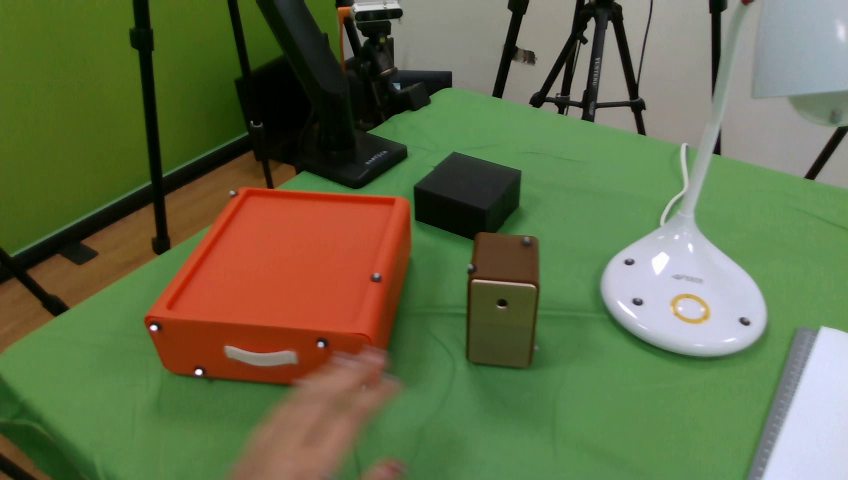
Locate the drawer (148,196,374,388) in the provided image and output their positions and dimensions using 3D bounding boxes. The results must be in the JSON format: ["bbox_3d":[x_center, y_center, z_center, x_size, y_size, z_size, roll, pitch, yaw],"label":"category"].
[{"bbox_3d":[-0.127,0.041,0.607,0.194,0.074,0.210,4,36,7],"label":"drawer"}]

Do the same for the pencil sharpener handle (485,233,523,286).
[{"bbox_3d":[0.077,0.013,0.596,0.036,0.068,0.030,9,38,4],"label":"pencil sharpener handle"}]

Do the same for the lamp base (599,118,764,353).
[{"bbox_3d":[0.262,-0.014,0.587,0.160,0.182,0.177,2,35,4],"label":"lamp base"}]

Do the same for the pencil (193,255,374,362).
[{"bbox_3d":[-0.131,0.063,0.584,0.194,0.012,0.012,-30,45,-17],"label":"pencil"}]

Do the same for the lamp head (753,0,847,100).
[{"bbox_3d":[0.256,-0.148,0.362,0.112,0.123,0.112,-6,6,1],"label":"lamp head"}]

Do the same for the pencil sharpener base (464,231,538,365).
[{"bbox_3d":[0.071,0.053,0.563,0.061,0.108,0.076,4,37,8],"label":"pencil sharpener base"}]

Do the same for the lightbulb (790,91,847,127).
[{"bbox_3d":[0.257,-0.122,0.361,0.059,0.108,0.059,4,13,0],"label":"lightbulb"}]

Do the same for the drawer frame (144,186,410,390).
[{"bbox_3d":[-0.129,0.037,0.609,0.201,0.083,0.212,3,37,7],"label":"drawer frame"}]
